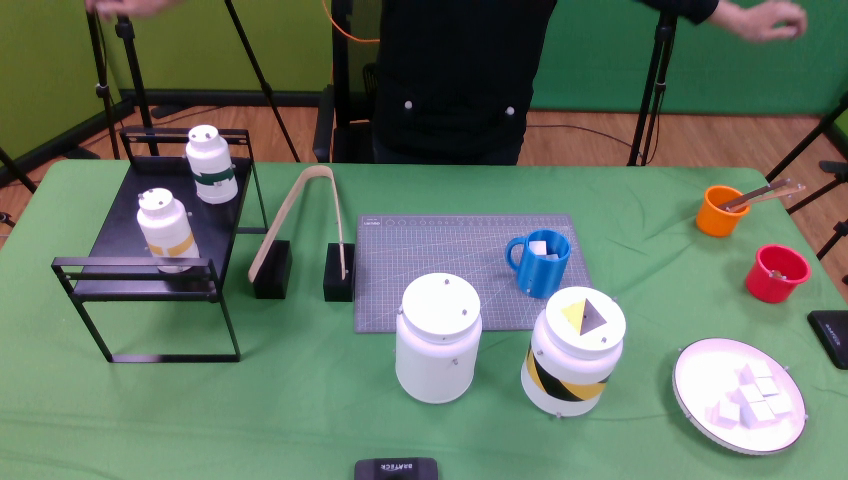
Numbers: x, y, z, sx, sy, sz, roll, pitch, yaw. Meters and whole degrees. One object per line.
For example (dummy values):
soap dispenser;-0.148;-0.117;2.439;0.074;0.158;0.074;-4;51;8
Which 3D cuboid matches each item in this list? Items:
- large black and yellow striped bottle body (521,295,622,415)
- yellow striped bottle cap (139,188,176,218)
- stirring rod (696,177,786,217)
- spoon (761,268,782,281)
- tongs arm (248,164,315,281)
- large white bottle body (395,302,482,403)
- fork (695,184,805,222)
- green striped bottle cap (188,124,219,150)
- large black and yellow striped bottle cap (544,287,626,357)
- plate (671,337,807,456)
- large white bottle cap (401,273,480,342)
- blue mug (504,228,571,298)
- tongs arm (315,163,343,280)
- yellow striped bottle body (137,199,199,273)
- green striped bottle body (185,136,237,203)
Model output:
large black and yellow striped bottle body;0.228;0.173;0.938;0.131;0.185;0.130;2;47;-2
yellow striped bottle cap;-0.363;-0.051;0.826;0.044;0.019;0.044;1;48;0
stirring rod;0.647;-0.087;1.244;0.176;0.006;0.014;-26;51;29
spoon;0.638;0.060;1.105;0.041;0.021;0.194;38;11;24
tongs arm;-0.269;-0.048;1.165;0.028;0.028;0.385;0;34;7
large white bottle body;0.020;0.153;0.939;0.131;0.185;0.130;2;46;-2
fork;0.657;-0.074;1.229;0.207;0.019;0.028;-24;33;36
green striped bottle cap;-0.339;-0.158;0.931;0.044;0.020;0.044;3;47;-3
large black and yellow striped bottle cap;0.232;0.116;0.876;0.115;0.019;0.114;2;46;-1
plate;0.503;0.254;0.984;0.208;0.039;0.206;2;46;-2
large white bottle cap;0.024;0.095;0.878;0.115;0.018;0.114;2;47;-2
blue mug;0.202;0.036;1.116;0.116;0.106;0.082;22;49;16
tongs arm;-0.187;-0.049;1.170;0.051;0.026;0.382;-5;35;-6
yellow striped bottle body;-0.366;-0.014;0.863;0.063;0.121;0.062;2;46;-2
green striped bottle body;-0.341;-0.121;0.969;0.063;0.120;0.063;2;46;-2
